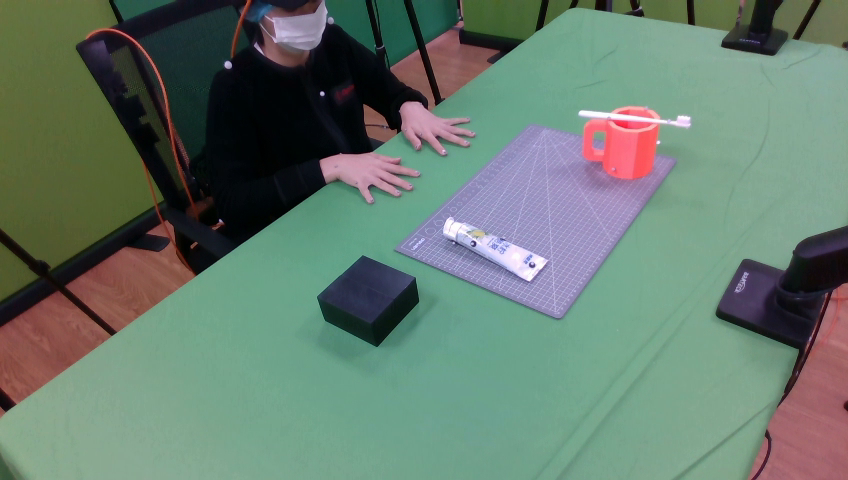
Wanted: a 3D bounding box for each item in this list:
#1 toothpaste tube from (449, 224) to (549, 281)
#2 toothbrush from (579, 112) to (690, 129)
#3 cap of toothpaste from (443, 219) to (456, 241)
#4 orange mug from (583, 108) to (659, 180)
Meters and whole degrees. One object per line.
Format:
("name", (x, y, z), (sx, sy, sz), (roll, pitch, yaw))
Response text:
("toothpaste tube", (0.107, 0.015, 0.934), (0.164, 0.035, 0.055), (25, 55, 28))
("toothbrush", (0.352, -0.205, 1.019), (0.181, 0.017, 0.014), (10, 47, 21))
("cap of toothpaste", (0.044, -0.017, 0.972), (0.011, 0.037, 0.037), (15, 45, 26))
("orange mug", (0.343, -0.171, 1.061), (0.126, 0.101, 0.083), (10, 43, 15))
